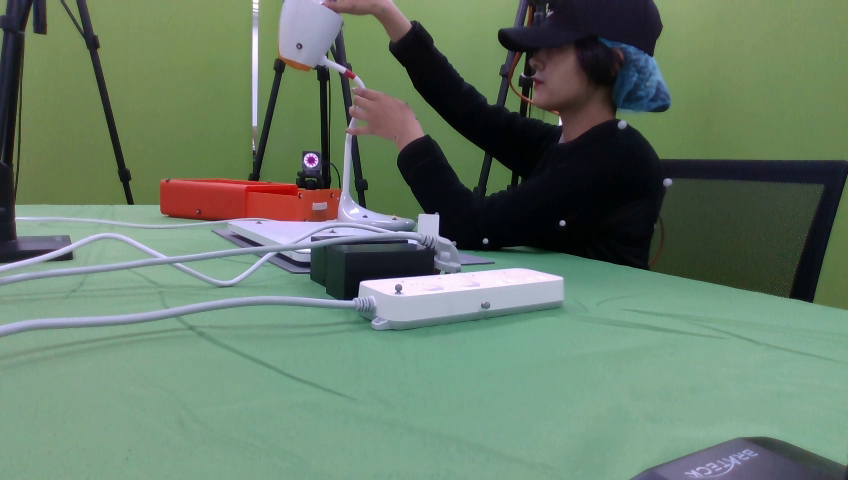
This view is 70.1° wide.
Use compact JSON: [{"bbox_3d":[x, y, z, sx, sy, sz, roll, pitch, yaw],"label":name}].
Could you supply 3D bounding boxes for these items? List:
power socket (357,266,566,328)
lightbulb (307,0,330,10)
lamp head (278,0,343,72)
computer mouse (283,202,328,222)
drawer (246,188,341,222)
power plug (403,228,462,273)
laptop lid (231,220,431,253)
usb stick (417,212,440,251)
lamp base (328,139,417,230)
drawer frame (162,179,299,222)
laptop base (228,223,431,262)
[{"bbox_3d":[0.042,0.049,0.573,0.228,0.032,0.072,-3,8,-34],"label":"power socket"},{"bbox_3d":[-0.212,-0.399,1.113,0.059,0.107,0.059,25,14,-6],"label":"lightbulb"},{"bbox_3d":[-0.218,-0.375,1.123,0.112,0.123,0.112,17,10,-3],"label":"lamp head"},{"bbox_3d":[-0.251,-0.060,1.287,0.063,0.041,0.117,3,4,11],"label":"computer mouse"},{"bbox_3d":[-0.312,-0.078,1.296,0.211,0.073,0.195,4,8,17],"label":"drawer"},{"bbox_3d":[0.006,0.016,0.647,0.073,0.052,0.035,18,12,-6],"label":"power plug"},{"bbox_3d":[-0.142,-0.009,0.942,0.243,0.013,0.355,1,7,-31],"label":"laptop lid"},{"bbox_3d":[0.005,-0.003,0.721,0.027,0.059,0.021,0,-3,-3],"label":"usb stick"},{"bbox_3d":[-0.104,-0.113,1.212,0.180,0.180,0.160,-2,7,-15],"label":"lamp base"},{"bbox_3d":[-0.418,-0.089,1.328,0.213,0.082,0.202,4,8,18],"label":"drawer frame"},{"bbox_3d":[-0.145,0.003,0.942,0.237,0.023,0.352,2,6,-32],"label":"laptop base"}]
